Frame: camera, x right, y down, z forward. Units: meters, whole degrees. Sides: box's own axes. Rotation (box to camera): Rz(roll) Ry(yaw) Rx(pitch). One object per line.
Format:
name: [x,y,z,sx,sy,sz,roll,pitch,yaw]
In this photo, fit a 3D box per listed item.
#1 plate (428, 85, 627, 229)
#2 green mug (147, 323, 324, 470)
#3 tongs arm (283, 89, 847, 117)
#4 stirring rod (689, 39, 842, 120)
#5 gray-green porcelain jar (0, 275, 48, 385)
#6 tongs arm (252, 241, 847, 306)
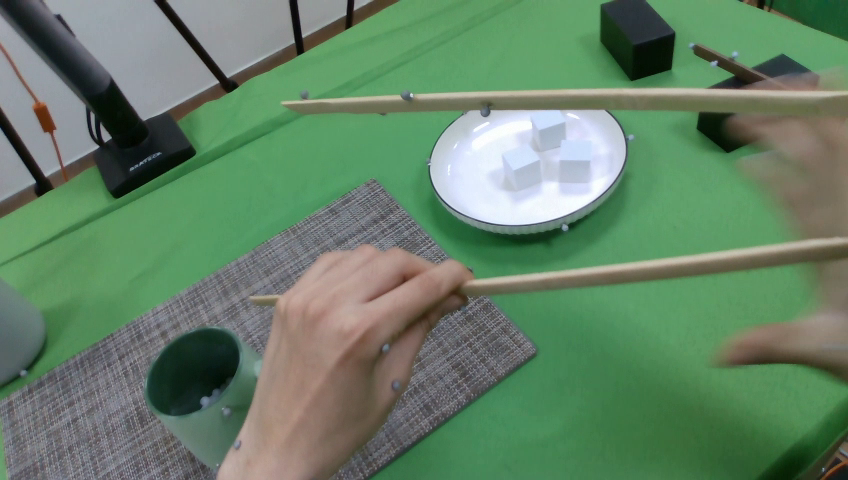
plate: [0.109,-0.088,0.652,0.207,0.039,0.205,-8,50,9]
green mug: [-0.145,0.124,0.495,0.125,0.106,0.091,-15,48,2]
tongs arm: [0.057,-0.061,0.343,0.382,0.027,0.050,6,80,34]
stirring rod: [0.332,-0.162,0.599,0.006,0.014,0.174,-30,49,-13]
gray-green porcelain jar: [-0.459,0.082,0.607,0.106,0.128,0.105,-7,49,9]
tongs arm: [0.048,0.016,0.332,0.386,0.028,0.028,-9,69,31]
